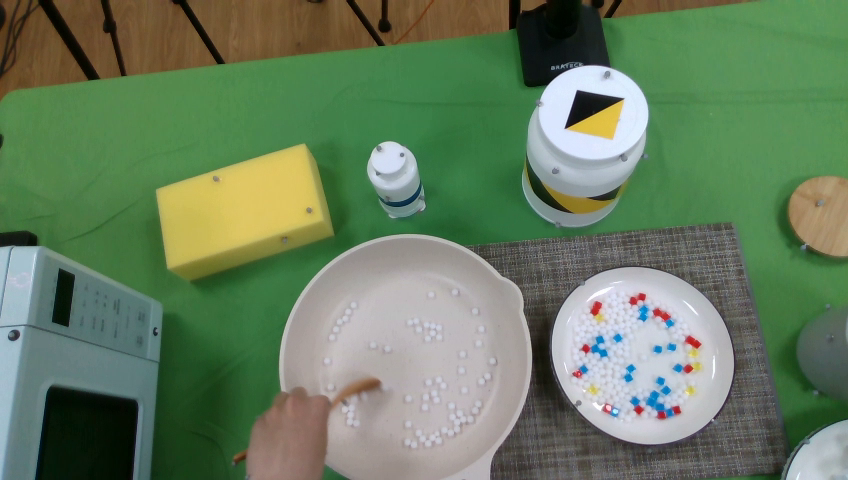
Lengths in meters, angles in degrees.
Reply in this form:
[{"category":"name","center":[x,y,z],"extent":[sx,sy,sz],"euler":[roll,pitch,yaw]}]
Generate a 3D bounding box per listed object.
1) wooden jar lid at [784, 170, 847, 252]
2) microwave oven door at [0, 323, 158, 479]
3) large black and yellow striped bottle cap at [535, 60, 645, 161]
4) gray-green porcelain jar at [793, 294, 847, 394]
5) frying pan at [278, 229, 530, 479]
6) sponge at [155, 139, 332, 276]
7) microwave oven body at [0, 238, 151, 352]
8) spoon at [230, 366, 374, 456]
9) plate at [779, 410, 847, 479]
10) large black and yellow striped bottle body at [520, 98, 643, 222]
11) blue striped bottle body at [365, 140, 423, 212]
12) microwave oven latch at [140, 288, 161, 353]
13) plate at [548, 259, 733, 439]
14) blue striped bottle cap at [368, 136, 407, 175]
[{"category":"wooden jar lid","center":[0.506,-0.036,0.758],"extent":[0.108,0.021,0.108],"euler":[-2,73,5]},{"category":"microwave oven door","center":[-0.353,0.278,0.602],"extent":[0.039,0.245,0.353],"euler":[-5,71,4]},{"category":"large black and yellow striped bottle cap","center":[0.178,-0.140,0.648],"extent":[0.115,0.019,0.114],"euler":[-1,73,5]},{"category":"gray-green porcelain jar","center":[0.476,0.111,0.657],"extent":[0.106,0.127,0.105],"euler":[-2,71,5]},{"category":"frying pan","center":[0.023,0.214,0.676],"extent":[0.307,0.103,0.483],"euler":[-28,64,-3]},{"category":"sponge","center":[-0.239,-0.043,0.810],"extent":[0.207,0.061,0.117],"euler":[-18,71,-1]},{"category":"microwave oven body","center":[-0.499,0.252,0.630],"extent":[0.326,0.262,0.438],"euler":[-5,72,4]},{"category":"spoon","center":[-0.129,0.187,0.676],"extent":[0.194,0.042,0.021],"euler":[-29,79,-44]},{"category":"plate","center":[0.485,0.286,0.647],"extent":[0.207,0.039,0.206],"euler":[-2,72,5]},{"category":"large black and yellow striped bottle body","center":[0.185,-0.111,0.727],"extent":[0.130,0.185,0.130],"euler":[-2,71,5]},{"category":"blue striped bottle body","center":[-0.038,-0.085,0.773],"extent":[0.063,0.121,0.062],"euler":[-2,72,5]},{"category":"microwave oven latch","center":[-0.352,0.103,0.766],"extent":[0.030,0.030,0.078],"euler":[-4,72,4]},{"category":"plate","center":[0.250,0.126,0.717],"extent":[0.209,0.038,0.208],"euler":[-2,72,6]},{"category":"blue striped bottle cap","center":[-0.044,-0.101,0.724],"extent":[0.044,0.021,0.044],"euler":[-2,69,7]}]
